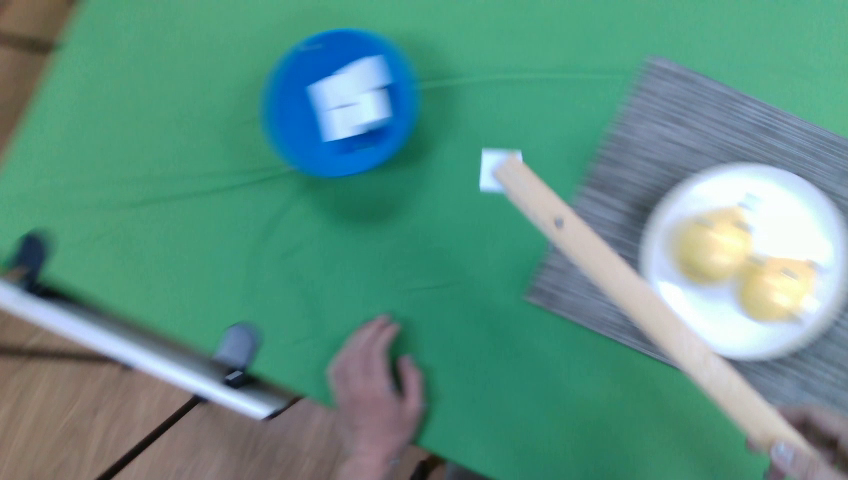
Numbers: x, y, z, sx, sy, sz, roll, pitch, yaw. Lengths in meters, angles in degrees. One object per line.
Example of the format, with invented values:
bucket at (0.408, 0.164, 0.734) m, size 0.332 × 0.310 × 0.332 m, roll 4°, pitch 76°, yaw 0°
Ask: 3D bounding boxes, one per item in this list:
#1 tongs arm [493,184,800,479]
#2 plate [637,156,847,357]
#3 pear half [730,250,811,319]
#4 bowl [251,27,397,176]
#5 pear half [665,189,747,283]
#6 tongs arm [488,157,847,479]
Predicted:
tongs arm at (0.200, 0.075, 0.499) m, size 0.384 × 0.051 × 0.026 m, roll 45°, pitch 96°, yaw 6°
plate at (0.327, 0.017, 0.638) m, size 0.207 × 0.039 × 0.207 m, roll 0°, pitch 88°, yaw 3°
pear half at (0.367, 0.044, 0.630) m, size 0.088 × 0.031 × 0.070 m, roll -34°, pitch 90°, yaw 6°
bowl at (-0.099, -0.138, 0.649) m, size 0.151 × 0.077 × 0.151 m, roll 0°, pitch 88°, yaw 3°
pear half at (0.305, -0.011, 0.626) m, size 0.076 × 0.056 × 0.110 m, roll 34°, pitch 87°, yaw 0°
tongs arm at (0.194, 0.074, 0.475) m, size 0.028 × 0.028 × 0.386 m, roll -45°, pitch 80°, yaw 3°
